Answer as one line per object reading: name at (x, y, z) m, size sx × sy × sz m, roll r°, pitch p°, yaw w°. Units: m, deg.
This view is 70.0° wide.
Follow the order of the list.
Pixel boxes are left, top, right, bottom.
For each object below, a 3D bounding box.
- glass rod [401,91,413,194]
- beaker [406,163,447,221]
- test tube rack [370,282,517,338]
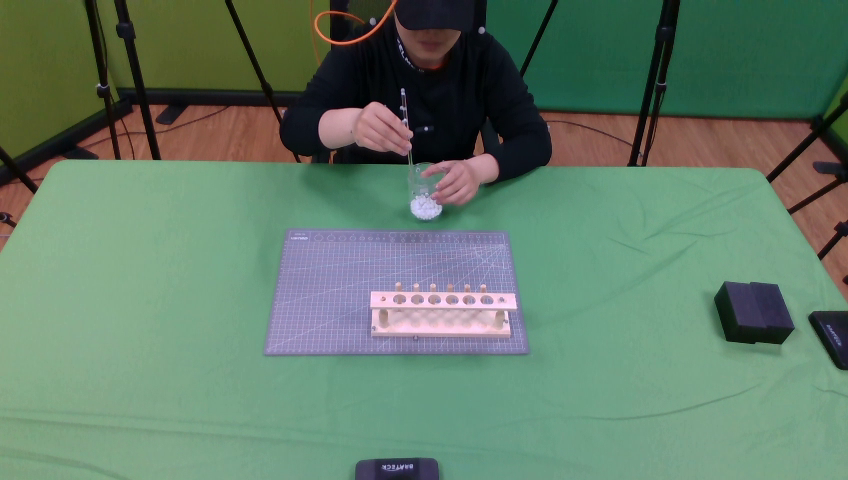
glass rod at (-0.029, -0.163, 1.048) m, size 0.008 × 0.201 × 0.008 m, roll -3°, pitch 38°, yaw 2°
beaker at (0.005, -0.095, 1.222) m, size 0.084 × 0.101 × 0.073 m, roll -15°, pitch 48°, yaw -14°
test tube rack at (0.030, 0.116, 1.041) m, size 0.242 × 0.085 × 0.066 m, roll 1°, pitch 46°, yaw -3°
